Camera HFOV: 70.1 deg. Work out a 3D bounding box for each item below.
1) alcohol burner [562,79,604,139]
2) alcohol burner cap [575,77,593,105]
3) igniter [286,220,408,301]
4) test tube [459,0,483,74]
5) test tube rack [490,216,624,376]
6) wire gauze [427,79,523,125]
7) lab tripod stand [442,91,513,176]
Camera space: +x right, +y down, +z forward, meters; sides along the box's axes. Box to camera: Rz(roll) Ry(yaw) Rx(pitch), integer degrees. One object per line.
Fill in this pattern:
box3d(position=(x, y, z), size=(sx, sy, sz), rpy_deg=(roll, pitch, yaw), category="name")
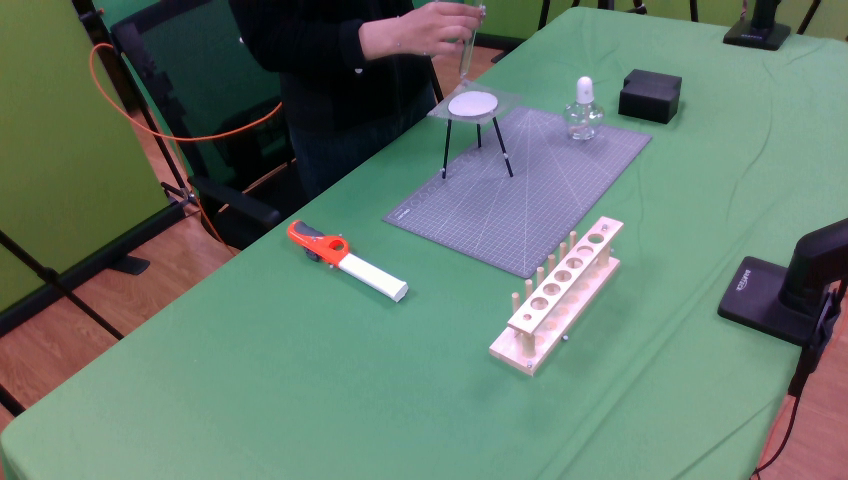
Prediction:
box3d(position=(0.303, -0.253, 1.147), size=(0.078, 0.119, 0.077), rpy_deg=(-4, 41, 4), category="alcohol burner")
box3d(position=(0.297, -0.279, 1.123), size=(0.034, 0.048, 0.033), rpy_deg=(-8, 41, 8), category="alcohol burner cap")
box3d(position=(-0.133, 0.028, 0.969), size=(0.274, 0.025, 0.057), rpy_deg=(26, 61, 35), category="igniter")
box3d(position=(0.078, -0.341, 0.980), size=(0.017, 0.150, 0.017), rpy_deg=(8, 37, -5), category="test tube")
box3d(position=(0.184, 0.064, 0.822), size=(0.066, 0.085, 0.243), rpy_deg=(24, 50, 33), category="test tube rack")
box3d(position=(0.088, -0.239, 1.050), size=(0.120, 0.011, 0.125), rpy_deg=(22, 50, 30), category="wire gauze")
box3d(position=(0.096, -0.190, 1.096), size=(0.148, 0.132, 0.147), rpy_deg=(-4, 40, 4), category="lab tripod stand")
